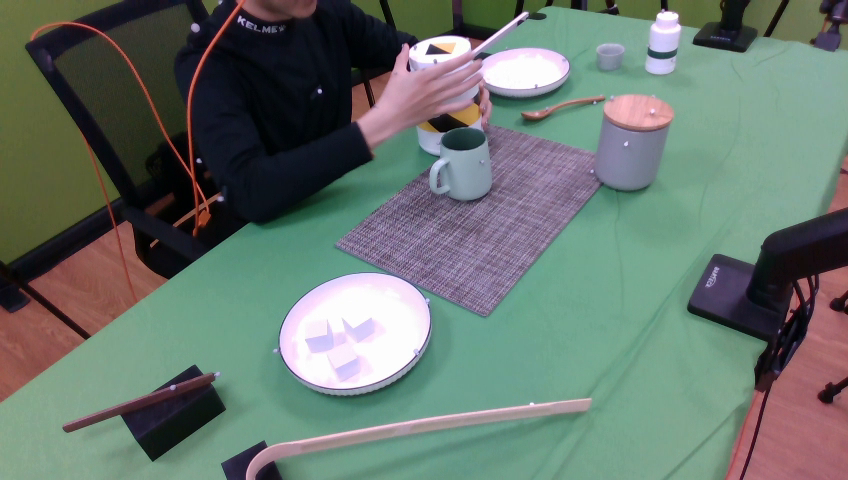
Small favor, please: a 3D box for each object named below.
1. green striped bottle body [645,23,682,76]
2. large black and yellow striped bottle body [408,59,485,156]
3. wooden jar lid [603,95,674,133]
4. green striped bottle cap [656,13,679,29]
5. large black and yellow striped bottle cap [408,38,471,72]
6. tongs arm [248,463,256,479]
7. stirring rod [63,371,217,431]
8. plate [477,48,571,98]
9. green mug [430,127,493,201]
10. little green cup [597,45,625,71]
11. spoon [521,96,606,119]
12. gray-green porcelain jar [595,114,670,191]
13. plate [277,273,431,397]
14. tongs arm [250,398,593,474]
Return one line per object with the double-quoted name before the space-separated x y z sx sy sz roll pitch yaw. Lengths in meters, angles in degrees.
"green striped bottle body" 0.520 -0.424 1.312 0.063 0.120 0.063 -4 41 4
"large black and yellow striped bottle body" 0.043 -0.268 1.147 0.130 0.185 0.130 -7 38 6
"wooden jar lid" 0.343 -0.200 0.974 0.108 0.021 0.108 -1 39 2
"green striped bottle cap" 0.515 -0.463 1.278 0.044 0.020 0.044 -6 42 6
"large black and yellow striped bottle cap" 0.028 -0.336 1.093 0.115 0.019 0.114 -5 39 5
"tongs arm" 0.012 0.262 0.614 0.385 0.026 0.050 3 42 -2
"stirring rod" -0.337 0.192 0.723 0.177 0.014 0.005 -18 43 -12
"plate" 0.223 -0.371 1.357 0.209 0.038 0.208 -4 41 4
"green mug" 0.059 -0.122 1.034 0.126 0.105 0.091 -35 48 -28
"little green cup" 0.423 -0.413 1.375 0.061 0.039 0.061 -3 41 3
"spoon" 0.291 -0.277 1.249 0.194 0.022 0.041 -17 25 -11
"gray-green porcelain jar" 0.346 -0.154 1.017 0.106 0.127 0.105 -2 44 2
"plate" -0.091 0.129 0.821 0.207 0.039 0.206 -4 40 4
"tongs arm" 0.008 0.212 0.675 0.389 0.028 0.028 -5 46 -11
